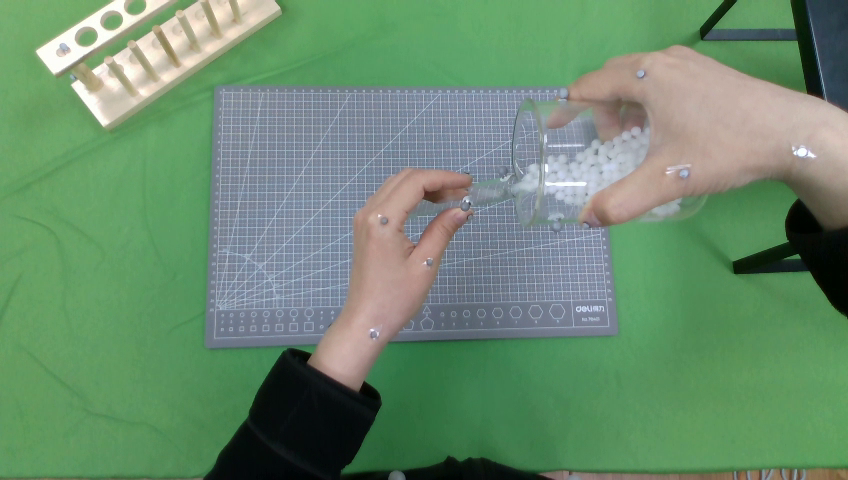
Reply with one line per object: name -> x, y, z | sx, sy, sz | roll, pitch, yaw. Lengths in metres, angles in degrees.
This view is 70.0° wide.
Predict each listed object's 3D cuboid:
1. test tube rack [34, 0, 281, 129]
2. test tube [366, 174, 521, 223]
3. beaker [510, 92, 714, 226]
test tube rack -> -0.282, -0.232, 0.668 | 0.242, 0.085, 0.066 | -38, 83, -11
test tube -> 0.007, -0.028, 0.441 | 0.017, 0.149, 0.017 | 7, 80, -43
beaker -> 0.105, -0.045, 0.355 | 0.100, 0.084, 0.073 | -1, 75, -4
